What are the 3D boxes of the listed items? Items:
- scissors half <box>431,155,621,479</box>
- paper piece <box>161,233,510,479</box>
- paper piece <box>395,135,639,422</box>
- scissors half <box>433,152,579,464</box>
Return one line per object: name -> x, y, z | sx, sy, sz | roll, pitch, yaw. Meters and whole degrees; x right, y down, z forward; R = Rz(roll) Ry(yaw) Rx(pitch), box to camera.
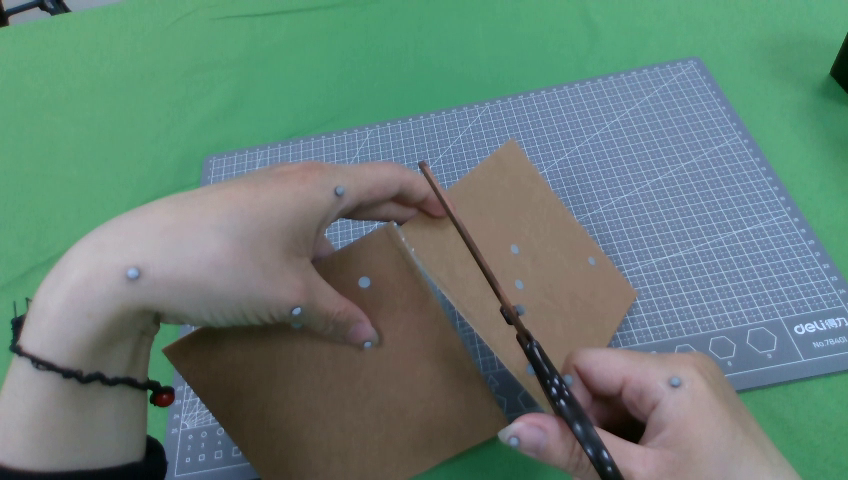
scissors half -> 0.045, 0.042, 0.249 | 0.013, 0.040, 0.175 | -28, 90, -1
paper piece -> -0.043, 0.081, 0.328 | 0.138, 0.137, 0.008 | -28, 20, 6
paper piece -> 0.065, 0.015, 0.356 | 0.135, 0.004, 0.135 | 50, 47, -1
scissors half -> 0.045, 0.039, 0.269 | 0.013, 0.176, 0.040 | -27, 17, 4
